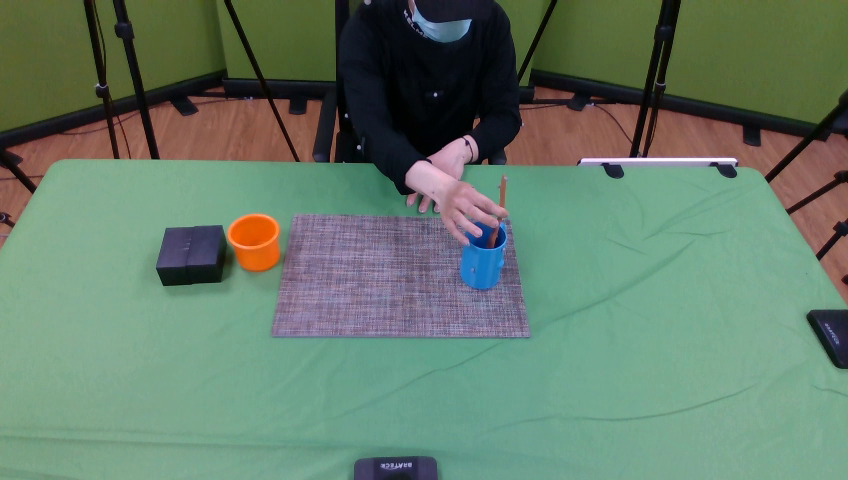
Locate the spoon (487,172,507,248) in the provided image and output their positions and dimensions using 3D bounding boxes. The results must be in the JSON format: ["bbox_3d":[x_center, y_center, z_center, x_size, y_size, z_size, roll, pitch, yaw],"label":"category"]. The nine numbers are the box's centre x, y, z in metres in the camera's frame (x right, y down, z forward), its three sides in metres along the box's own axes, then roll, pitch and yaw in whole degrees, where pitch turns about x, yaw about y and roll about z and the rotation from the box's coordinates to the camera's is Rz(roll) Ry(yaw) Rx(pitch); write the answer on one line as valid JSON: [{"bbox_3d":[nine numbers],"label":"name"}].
[{"bbox_3d":[0.132,-0.038,1.069,0.022,0.194,0.041,1,39,-8],"label":"spoon"}]

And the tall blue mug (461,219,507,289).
[{"bbox_3d":[0.111,0.016,1.122,0.078,0.108,0.106,6,46,4],"label":"tall blue mug"}]
